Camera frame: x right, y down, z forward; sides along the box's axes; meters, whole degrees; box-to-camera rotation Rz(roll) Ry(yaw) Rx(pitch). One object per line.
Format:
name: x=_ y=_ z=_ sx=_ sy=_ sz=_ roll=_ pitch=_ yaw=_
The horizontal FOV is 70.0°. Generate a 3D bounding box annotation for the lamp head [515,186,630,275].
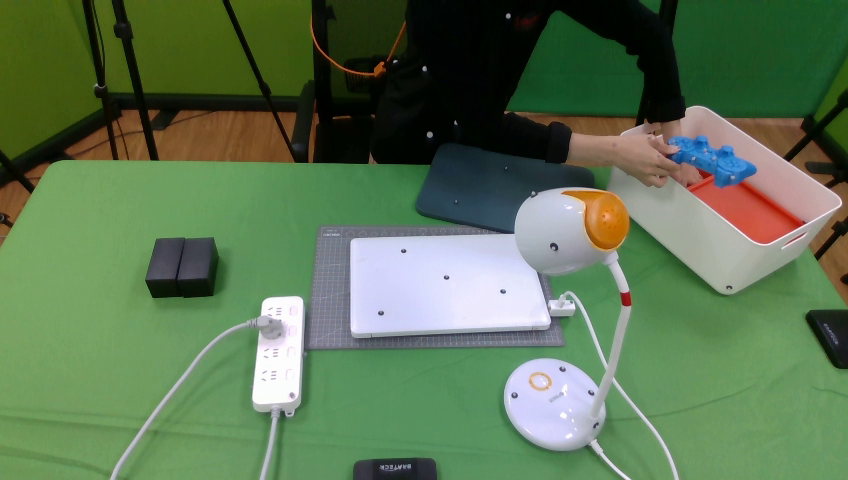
lamp head: x=0.188 y=-0.013 z=0.728 sx=0.112 sy=0.112 sz=0.122 roll=-25 pitch=9 yaw=-25

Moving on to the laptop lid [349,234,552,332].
laptop lid: x=0.040 y=0.071 z=1.118 sx=0.357 sy=0.013 sz=0.240 roll=0 pitch=44 yaw=-5

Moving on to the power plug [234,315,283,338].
power plug: x=-0.269 y=0.143 z=1.000 sx=0.072 sy=0.053 sz=0.035 roll=4 pitch=47 yaw=3

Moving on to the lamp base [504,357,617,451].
lamp base: x=0.220 y=0.211 z=0.903 sx=0.160 sy=0.181 sz=0.178 roll=-33 pitch=59 yaw=-30

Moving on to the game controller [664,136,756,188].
game controller: x=0.511 y=-0.150 z=1.093 sx=0.097 sy=0.052 sz=0.154 roll=-34 pitch=50 yaw=-30

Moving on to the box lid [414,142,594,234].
box lid: x=0.184 y=-0.107 z=1.324 sx=0.371 sy=0.015 sz=0.262 roll=12 pitch=46 yaw=8

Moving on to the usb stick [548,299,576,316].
usb stick: x=0.239 y=0.121 z=1.084 sx=0.059 sy=0.027 sz=0.021 roll=-1 pitch=51 yaw=-1

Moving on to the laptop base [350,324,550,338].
laptop base: x=0.039 y=0.081 z=1.125 sx=0.355 sy=0.023 sz=0.234 roll=-2 pitch=43 yaw=-6

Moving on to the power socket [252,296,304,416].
power socket: x=-0.238 y=0.181 z=0.997 sx=0.072 sy=0.033 sz=0.225 roll=-3 pitch=47 yaw=-5

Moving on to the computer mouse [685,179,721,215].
computer mouse: x=0.598 y=-0.077 z=1.290 sx=0.117 sy=0.041 sz=0.062 roll=52 pitch=47 yaw=-9

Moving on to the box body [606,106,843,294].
box body: x=0.582 y=-0.088 z=1.230 sx=0.254 sy=0.161 sz=0.361 roll=-22 pitch=52 yaw=-23
